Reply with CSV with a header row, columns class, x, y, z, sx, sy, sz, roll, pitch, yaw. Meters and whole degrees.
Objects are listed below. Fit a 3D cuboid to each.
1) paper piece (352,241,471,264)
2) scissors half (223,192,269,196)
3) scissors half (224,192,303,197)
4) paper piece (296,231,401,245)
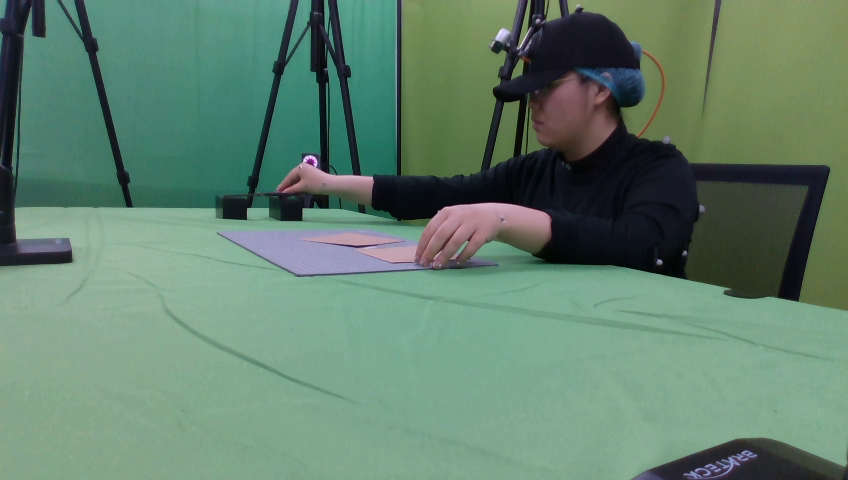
class,x,y,z,sx,sy,sz,roll,pitch,yaw
paper piece,-0.021,0.019,0.915,0.137,0.008,0.137,-7,12,-31
scissors half,-0.369,-0.105,1.378,0.176,0.013,0.040,-2,8,-37
scissors half,-0.359,-0.103,1.361,0.176,0.013,0.040,-1,2,-21
paper piece,-0.127,-0.003,1.052,0.135,0.004,0.136,7,8,33
